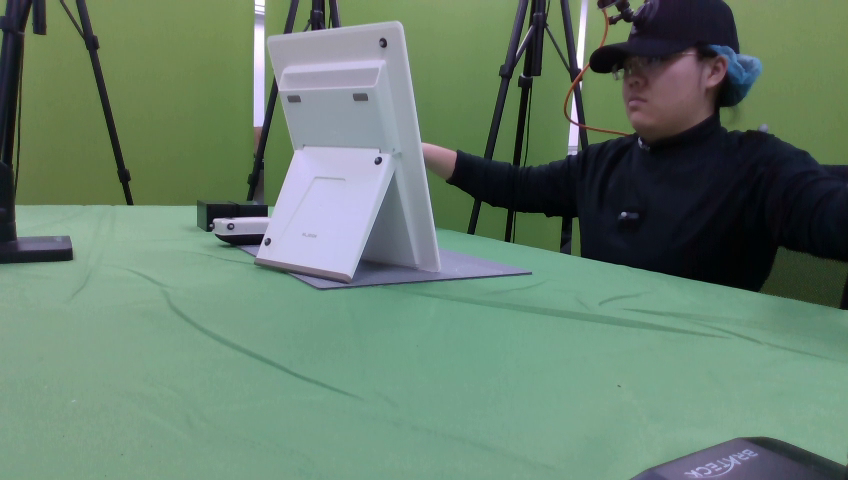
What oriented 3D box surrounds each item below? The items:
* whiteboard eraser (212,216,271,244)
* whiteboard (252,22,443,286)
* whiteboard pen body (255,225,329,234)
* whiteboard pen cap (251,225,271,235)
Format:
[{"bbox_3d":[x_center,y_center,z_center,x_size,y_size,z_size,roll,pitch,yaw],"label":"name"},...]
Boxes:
[{"bbox_3d":[-0.266,-0.016,0.942,0.113,0.042,0.055,-2,10,-35],"label":"whiteboard eraser"},{"bbox_3d":[-0.125,-0.081,0.715,0.216,0.305,0.144,8,29,36],"label":"whiteboard"},{"bbox_3d":[-0.239,-0.019,1.105,0.141,0.017,0.017,-2,9,-34],"label":"whiteboard pen body"},{"bbox_3d":[-0.288,-0.019,1.071,0.033,0.018,0.018,-3,10,-34],"label":"whiteboard pen cap"}]
